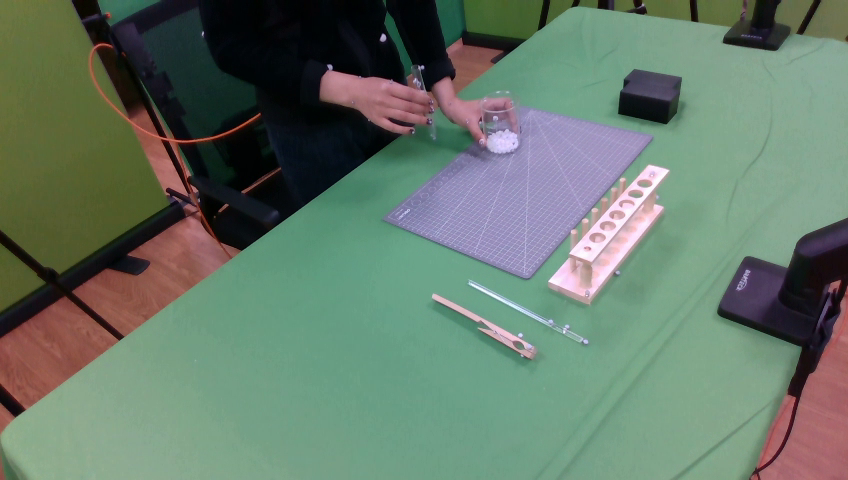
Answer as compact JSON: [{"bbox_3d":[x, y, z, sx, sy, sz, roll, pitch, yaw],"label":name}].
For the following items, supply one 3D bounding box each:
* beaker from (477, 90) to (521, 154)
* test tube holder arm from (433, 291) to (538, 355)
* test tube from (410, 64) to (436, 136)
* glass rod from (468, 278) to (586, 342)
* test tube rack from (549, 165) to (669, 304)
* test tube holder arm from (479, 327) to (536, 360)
[{"bbox_3d":[0.144,-0.222,1.150,0.083,0.101,0.074,11,45,24],"label":"beaker"},{"bbox_3d":[0.081,0.112,0.832,0.177,0.015,0.013,29,82,36],"label":"test tube holder arm"},{"bbox_3d":[0.000,-0.243,1.069,0.017,0.151,0.017,-8,49,10],"label":"test tube"},{"bbox_3d":[0.140,0.096,0.853,0.198,0.008,0.008,27,53,35],"label":"glass rod"},{"bbox_3d":[0.279,-0.018,0.902,0.066,0.085,0.243,24,50,33],"label":"test tube rack"},{"bbox_3d":[0.110,0.134,0.805,0.087,0.015,0.010,29,83,36],"label":"test tube holder arm"}]
